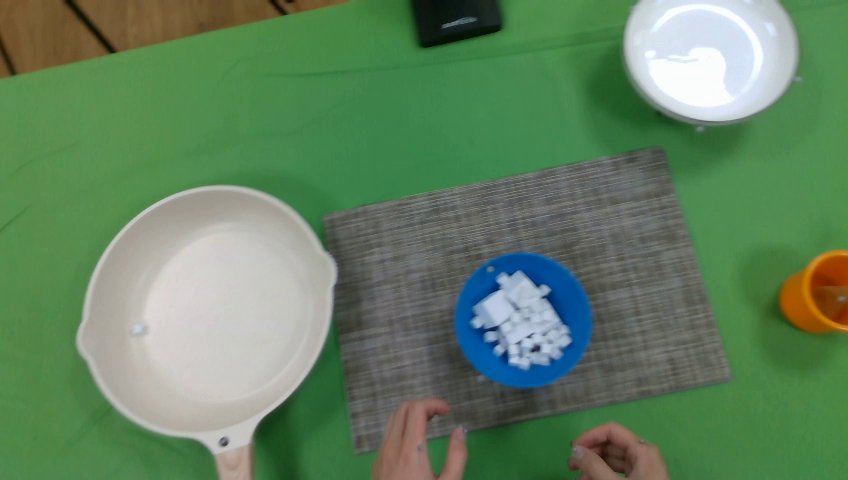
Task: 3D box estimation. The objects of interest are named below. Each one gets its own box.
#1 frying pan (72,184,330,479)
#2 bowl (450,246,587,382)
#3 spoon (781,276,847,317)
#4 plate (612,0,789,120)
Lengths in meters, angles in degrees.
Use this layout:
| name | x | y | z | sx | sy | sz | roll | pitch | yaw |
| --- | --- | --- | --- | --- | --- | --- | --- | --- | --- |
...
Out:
| name | x | y | z | sx | sy | sz | roll | pitch | yaw |
| --- | --- | --- | --- | --- | --- | --- | --- | --- | --- |
| frying pan | -0.229 | 0.170 | 0.690 | 0.307 | 0.103 | 0.483 | -16 | 67 | 0 |
| bowl | 0.105 | 0.090 | 0.702 | 0.151 | 0.077 | 0.150 | -1 | 75 | 3 |
| spoon | 0.491 | 0.035 | 0.664 | 0.022 | 0.194 | 0.041 | -9 | 69 | -45 |
| plate | 0.336 | -0.241 | 0.749 | 0.207 | 0.039 | 0.206 | -1 | 77 | 3 |
